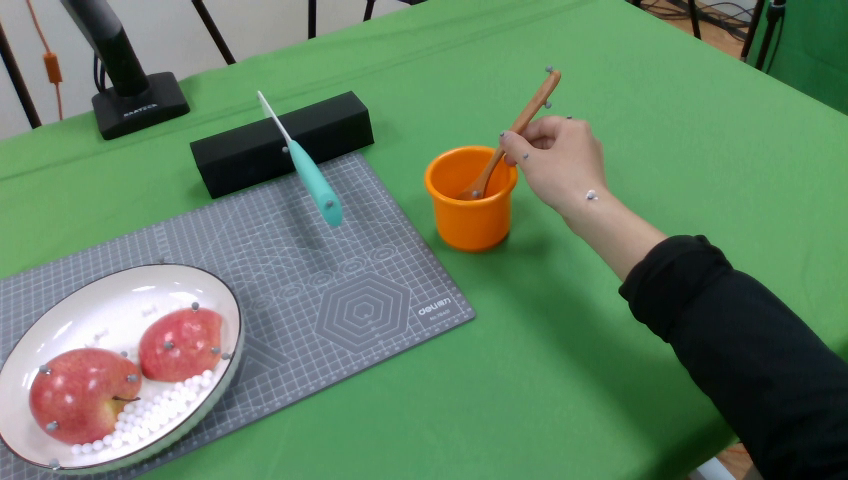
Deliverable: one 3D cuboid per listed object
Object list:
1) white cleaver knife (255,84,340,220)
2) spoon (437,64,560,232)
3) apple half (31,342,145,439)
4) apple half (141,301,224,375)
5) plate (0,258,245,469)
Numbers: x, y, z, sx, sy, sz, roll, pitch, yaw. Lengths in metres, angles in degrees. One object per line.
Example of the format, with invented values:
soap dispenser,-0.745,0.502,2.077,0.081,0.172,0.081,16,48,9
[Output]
white cleaver knife,-0.147,-0.103,0.696,0.021,0.066,0.283,-26,45,-11
spoon,0.071,-0.085,0.588,0.022,0.194,0.041,-2,43,-50
apple half,-0.283,0.116,0.500,0.074,0.054,0.080,10,49,19
apple half,-0.218,0.082,0.538,0.081,0.033,0.080,-2,49,3
plate,-0.258,0.103,0.531,0.209,0.038,0.207,-3,46,4
